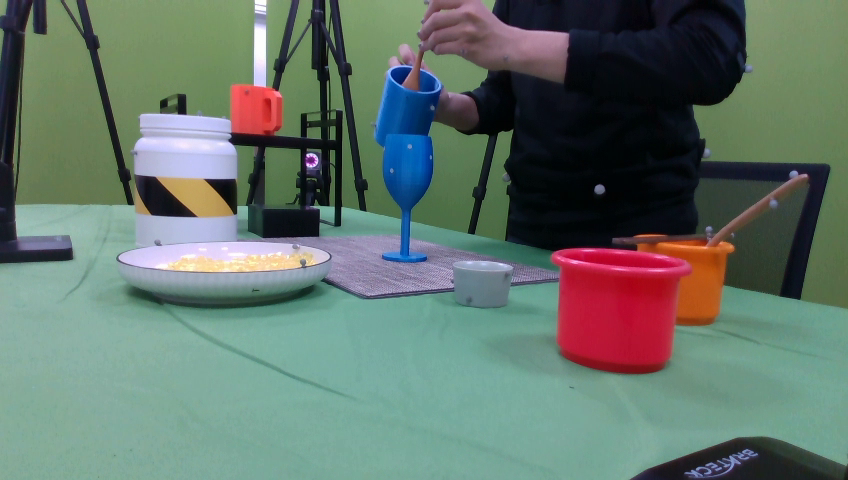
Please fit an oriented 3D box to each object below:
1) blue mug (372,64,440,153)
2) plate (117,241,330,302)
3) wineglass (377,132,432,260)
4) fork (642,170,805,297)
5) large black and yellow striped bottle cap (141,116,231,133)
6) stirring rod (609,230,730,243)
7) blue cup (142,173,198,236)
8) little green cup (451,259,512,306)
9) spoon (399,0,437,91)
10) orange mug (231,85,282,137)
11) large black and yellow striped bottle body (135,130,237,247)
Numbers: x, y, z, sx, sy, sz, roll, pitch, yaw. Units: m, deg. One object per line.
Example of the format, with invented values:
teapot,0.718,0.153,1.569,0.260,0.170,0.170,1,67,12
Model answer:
blue mug,-0.031,-0.207,0.920,0.082,0.106,0.116,4,41,-17
plate,-0.203,0.031,0.629,0.209,0.038,0.209,3,7,0
wineglass,-0.026,-0.062,0.841,0.074,0.172,0.073,2,8,0
fork,0.261,0.004,0.545,0.028,0.018,0.207,6,-38,-15
large black and yellow striped bottle cap,-0.324,-0.157,0.826,0.115,0.019,0.115,1,7,0
stirring rod,0.241,-0.004,0.582,0.177,0.006,0.014,-3,10,-33
blue cup,-0.425,-0.060,1.014,0.093,0.100,0.092,4,9,0
little green cup,0.057,0.043,0.611,0.061,0.038,0.061,3,8,0
spoon,-0.009,-0.261,0.843,0.041,0.193,0.022,22,25,10
orange mug,-0.335,-0.261,1.225,0.125,0.100,0.084,2,6,35
large black and yellow striped bottle body,-0.327,-0.074,0.838,0.131,0.184,0.130,2,7,0
